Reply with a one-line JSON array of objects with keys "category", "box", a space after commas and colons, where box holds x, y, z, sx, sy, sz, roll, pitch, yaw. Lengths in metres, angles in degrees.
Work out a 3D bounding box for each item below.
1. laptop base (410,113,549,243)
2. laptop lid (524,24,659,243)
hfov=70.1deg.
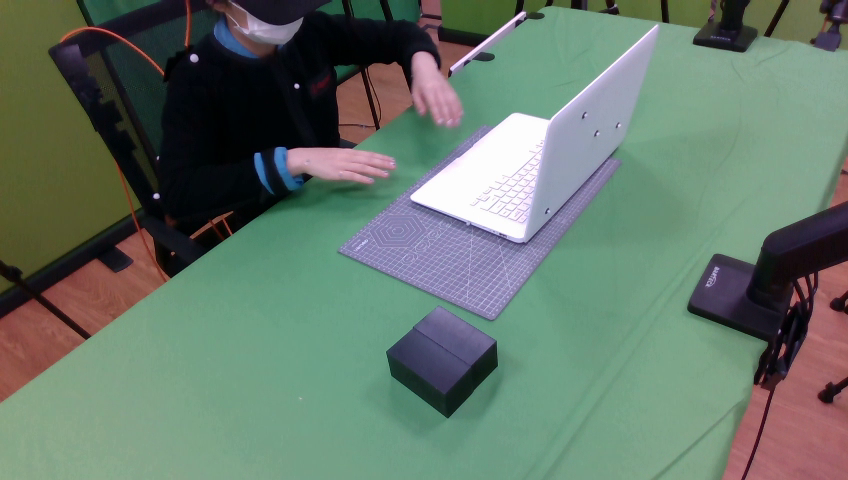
[{"category": "laptop base", "box": [0.171, -0.126, 1.096, 0.233, 0.023, 0.355, 21, 47, 33]}, {"category": "laptop lid", "box": [0.266, -0.170, 0.949, 0.013, 0.242, 0.358, 30, 50, 25]}]
